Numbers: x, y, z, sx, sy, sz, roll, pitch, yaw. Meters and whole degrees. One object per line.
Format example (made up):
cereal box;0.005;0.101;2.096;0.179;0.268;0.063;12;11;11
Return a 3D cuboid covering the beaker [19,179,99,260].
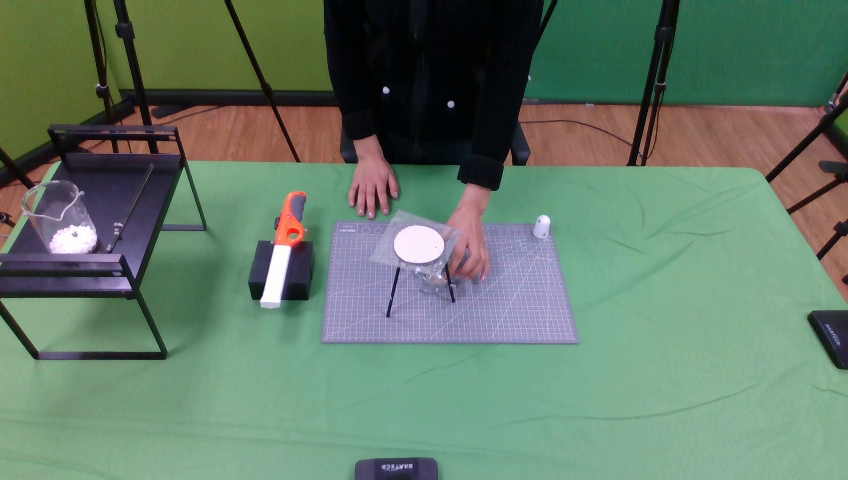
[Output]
beaker;-0.522;-0.024;0.877;0.074;0.101;0.083;-26;54;-25

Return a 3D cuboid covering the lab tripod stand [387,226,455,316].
lab tripod stand;-0.013;0.054;1.064;0.148;0.132;0.147;2;48;-2

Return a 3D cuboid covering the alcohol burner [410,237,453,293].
alcohol burner;0.014;0.040;1.093;0.078;0.119;0.077;2;44;-2

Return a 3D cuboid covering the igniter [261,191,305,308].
igniter;-0.255;0.007;1.104;0.057;0.025;0.275;5;47;-4

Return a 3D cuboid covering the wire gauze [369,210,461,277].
wire gauze;-0.013;0.006;1.017;0.121;0.011;0.124;17;49;12

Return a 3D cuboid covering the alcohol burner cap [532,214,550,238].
alcohol burner cap;0.240;-0.031;1.228;0.034;0.048;0.033;2;46;-1

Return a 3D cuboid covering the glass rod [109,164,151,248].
glass rod;-0.473;-0.060;0.979;0.008;0.008;0.198;1;46;-3
